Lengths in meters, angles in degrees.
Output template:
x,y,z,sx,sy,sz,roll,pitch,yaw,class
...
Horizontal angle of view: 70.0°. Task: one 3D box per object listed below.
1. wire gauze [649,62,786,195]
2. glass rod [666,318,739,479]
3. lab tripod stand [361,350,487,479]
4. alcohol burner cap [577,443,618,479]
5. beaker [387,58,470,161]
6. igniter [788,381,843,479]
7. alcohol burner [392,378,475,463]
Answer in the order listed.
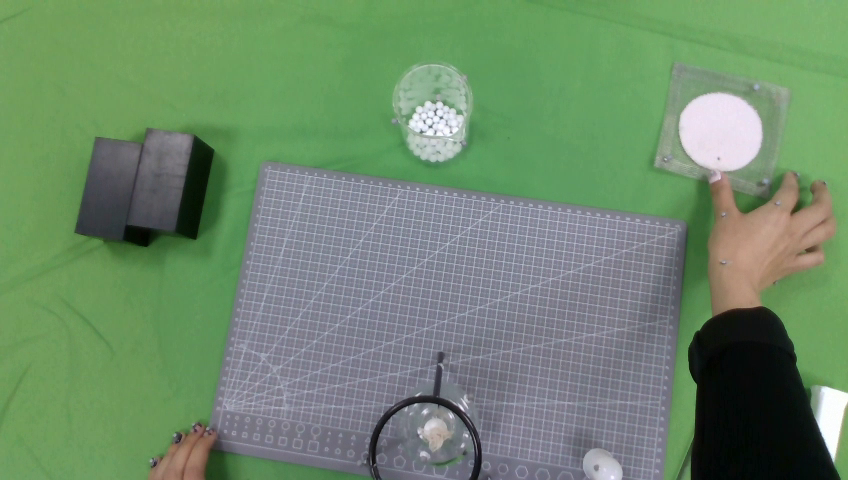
x,y,z,sx,sy,sz,roll,pitch,yaw,class
0.307,-0.120,0.637,0.125,0.011,0.121,16,82,6,wire gauze
0.272,0.168,0.599,0.008,0.008,0.199,25,84,5,glass rod
0.000,0.173,0.541,0.148,0.132,0.148,-1,80,4,lab tripod stand
0.166,0.214,0.576,0.034,0.048,0.033,0,80,2,alcohol burner cap
0.009,-0.121,0.601,0.074,0.100,0.083,-35,83,-2,beaker
0.350,0.271,0.572,0.057,0.025,0.276,18,83,-7,igniter
0.009,0.166,0.552,0.078,0.119,0.077,0,80,1,alcohol burner
